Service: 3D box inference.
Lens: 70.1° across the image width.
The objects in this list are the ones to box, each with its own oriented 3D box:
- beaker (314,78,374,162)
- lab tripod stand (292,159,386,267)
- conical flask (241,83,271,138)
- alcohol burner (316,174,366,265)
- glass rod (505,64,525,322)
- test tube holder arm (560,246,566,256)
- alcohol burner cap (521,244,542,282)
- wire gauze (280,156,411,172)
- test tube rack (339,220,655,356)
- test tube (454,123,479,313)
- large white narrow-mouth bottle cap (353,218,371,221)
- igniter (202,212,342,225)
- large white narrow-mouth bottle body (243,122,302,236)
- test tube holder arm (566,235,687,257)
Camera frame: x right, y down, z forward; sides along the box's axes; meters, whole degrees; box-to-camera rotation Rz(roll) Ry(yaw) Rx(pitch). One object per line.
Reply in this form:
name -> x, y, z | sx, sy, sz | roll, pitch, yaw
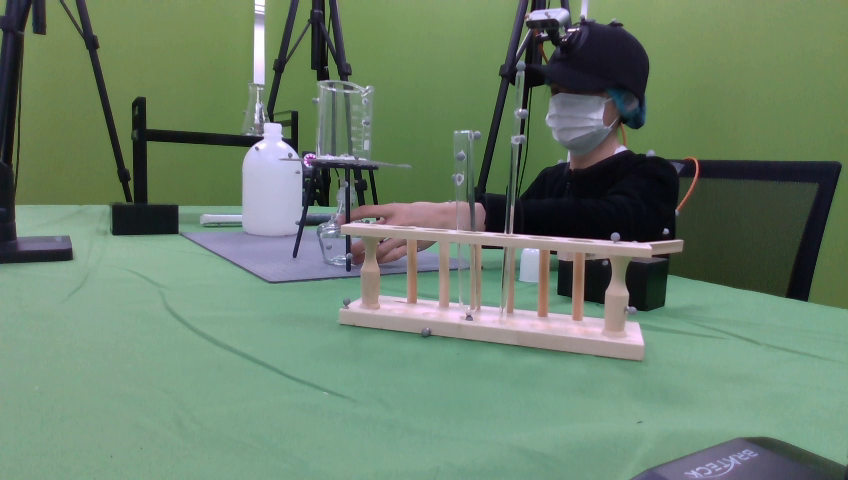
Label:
beaker -> -0.101, -0.150, 0.773 | 0.074, 0.100, 0.083 | -2, 8, -40
lab tripod stand -> -0.105, -0.039, 0.798 | 0.148, 0.131, 0.148 | 2, 5, 0
conical flask -> -0.383, -0.297, 1.393 | 0.075, 0.122, 0.075 | 2, 7, 0
alcohol burner -> -0.102, -0.028, 0.790 | 0.078, 0.119, 0.078 | 0, 6, 0
glass rod -> 0.069, -0.030, 0.458 | 0.008, 0.199, 0.008 | 0, 15, 0
test tube holder arm -> 0.173, 0.007, 0.611 | 0.088, 0.015, 0.010 | -3, 9, -30
alcohol burner cap -> 0.136, 0.025, 0.740 | 0.034, 0.048, 0.034 | 1, 6, 0
wire gauze -> -0.103, -0.103, 0.785 | 0.121, 0.011, 0.126 | 11, 8, 42
test tube rack -> 0.056, 0.032, 0.495 | 0.242, 0.085, 0.067 | 4, 7, 15
test tube -> 0.034, -0.016, 0.477 | 0.017, 0.150, 0.017 | -2, 9, 1
large white narrow-mouth bottle cap -> -0.120, -0.029, 1.184 | 0.038, 0.024, 0.037 | 2, 8, 0
igniter -> -0.298, -0.043, 1.216 | 0.278, 0.025, 0.057 | -3, -2, -32
large white narrow-mouth bottle body -> -0.264, -0.109, 1.061 | 0.102, 0.194, 0.102 | 2, 8, 0
test tube holder arm -> 0.215, 0.006, 0.629 | 0.179, 0.015, 0.013 | -3, 9, -30
